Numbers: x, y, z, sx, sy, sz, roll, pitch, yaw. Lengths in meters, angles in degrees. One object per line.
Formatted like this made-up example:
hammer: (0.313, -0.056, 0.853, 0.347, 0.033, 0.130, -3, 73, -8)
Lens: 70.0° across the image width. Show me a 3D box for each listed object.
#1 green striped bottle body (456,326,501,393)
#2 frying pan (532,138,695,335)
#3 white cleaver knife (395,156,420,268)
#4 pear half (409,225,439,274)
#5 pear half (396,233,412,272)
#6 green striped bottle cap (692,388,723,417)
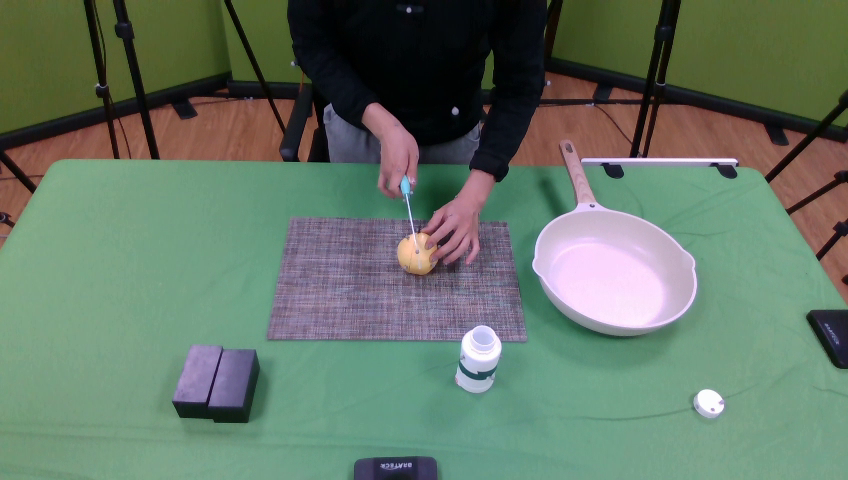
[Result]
green striped bottle body: (0.086, 0.185, 0.959, 0.063, 0.120, 0.063, 2, 46, -2)
frying pan: (0.336, -0.024, 1.190, 0.307, 0.103, 0.484, -2, 55, -7)
white cleaver knife: (-0.031, -0.058, 1.102, 0.021, 0.066, 0.284, -9, 41, -1)
pear half: (0.000, 0.013, 1.118, 0.056, 0.110, 0.076, 2, 50, 0)
pear half: (-0.036, 0.018, 1.125, 0.031, 0.088, 0.070, 1, 49, -2)
green striped bottle cap: (0.460, 0.263, 0.984, 0.044, 0.020, 0.044, 3, 46, -3)
